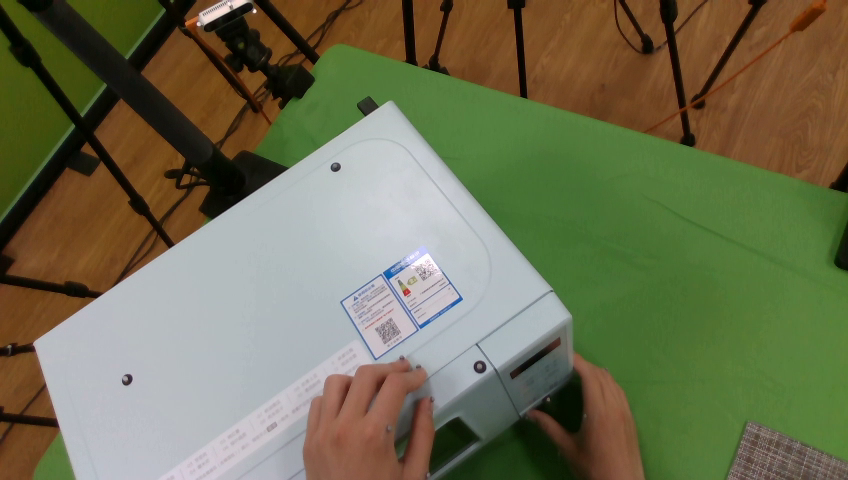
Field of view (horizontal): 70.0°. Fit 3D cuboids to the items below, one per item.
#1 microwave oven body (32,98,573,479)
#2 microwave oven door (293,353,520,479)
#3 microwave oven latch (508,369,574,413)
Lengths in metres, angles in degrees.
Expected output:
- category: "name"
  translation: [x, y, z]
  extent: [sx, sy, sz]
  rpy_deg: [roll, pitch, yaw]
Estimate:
- category: "microwave oven body"
  translation: [-0.112, 0.121, 0.662]
  extent: [0.441, 0.262, 0.323]
  rpy_deg: [-35, 63, -3]
- category: "microwave oven door"
  translation: [-0.070, 0.245, 0.587]
  extent: [0.356, 0.246, 0.039]
  rpy_deg: [-35, 61, -4]
- category: "microwave oven latch"
  translation: [0.133, 0.164, 0.691]
  extent: [0.079, 0.030, 0.030]
  rpy_deg: [-34, 63, -3]
